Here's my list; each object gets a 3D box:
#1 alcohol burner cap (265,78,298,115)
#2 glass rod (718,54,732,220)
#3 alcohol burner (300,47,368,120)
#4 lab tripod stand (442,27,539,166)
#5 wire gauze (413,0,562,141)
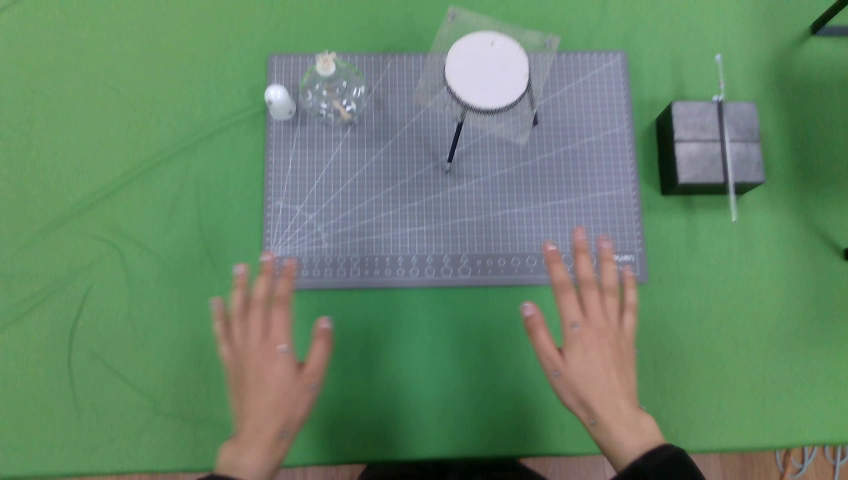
[{"bbox_3d":[-0.171,-0.173,0.720,0.034,0.048,0.033,0,78,2],"label":"alcohol burner cap"},{"bbox_3d":[0.344,-0.120,0.692,0.008,0.008,0.199,2,79,0],"label":"glass rod"},{"bbox_3d":[-0.104,-0.184,0.687,0.078,0.119,0.077,1,78,-2],"label":"alcohol burner"},{"bbox_3d":[0.068,-0.164,0.677,0.148,0.132,0.147,0,77,-2],"label":"lab tripod stand"},{"bbox_3d":[0.065,-0.175,0.611,0.125,0.011,0.121,21,79,2],"label":"wire gauze"}]
